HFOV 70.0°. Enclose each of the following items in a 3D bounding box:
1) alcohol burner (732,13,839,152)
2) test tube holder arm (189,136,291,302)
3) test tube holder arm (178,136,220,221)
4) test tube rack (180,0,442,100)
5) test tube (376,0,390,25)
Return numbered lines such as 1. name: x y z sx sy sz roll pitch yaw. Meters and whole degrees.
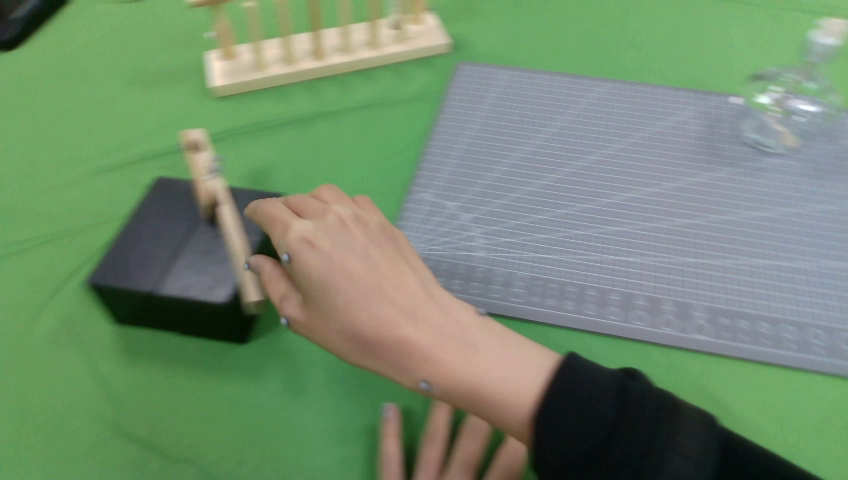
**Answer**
1. alcohol burner: 0.309 -0.135 0.510 0.078 0.120 0.077 0 49 0
2. test tube holder arm: -0.136 -0.021 0.427 0.013 0.015 0.176 -30 55 -19
3. test tube holder arm: -0.165 -0.047 0.450 0.010 0.015 0.087 -26 54 -16
4. test tube rack: -0.106 -0.219 0.608 0.243 0.086 0.066 -15 51 -11
5. test tube: -0.045 -0.284 0.596 0.017 0.151 0.017 -2 47 2
